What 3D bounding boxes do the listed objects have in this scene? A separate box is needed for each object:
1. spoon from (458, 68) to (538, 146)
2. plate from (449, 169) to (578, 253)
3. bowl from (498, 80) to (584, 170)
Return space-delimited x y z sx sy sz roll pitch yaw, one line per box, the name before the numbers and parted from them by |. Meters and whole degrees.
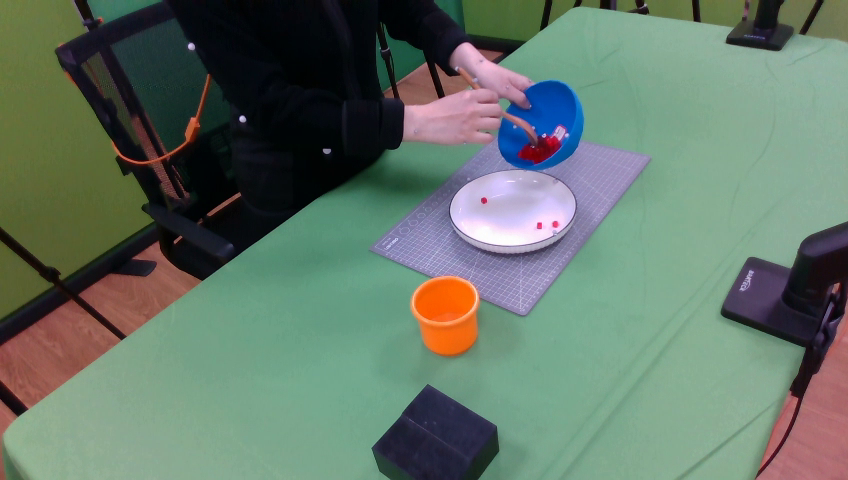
spoon | 0.118 -0.203 0.934 0.021 0.195 0.041 -49 35 18
plate | 0.147 -0.044 0.994 0.209 0.038 0.208 -5 40 5
bowl | 0.204 -0.175 0.987 0.150 0.077 0.151 -19 61 39
